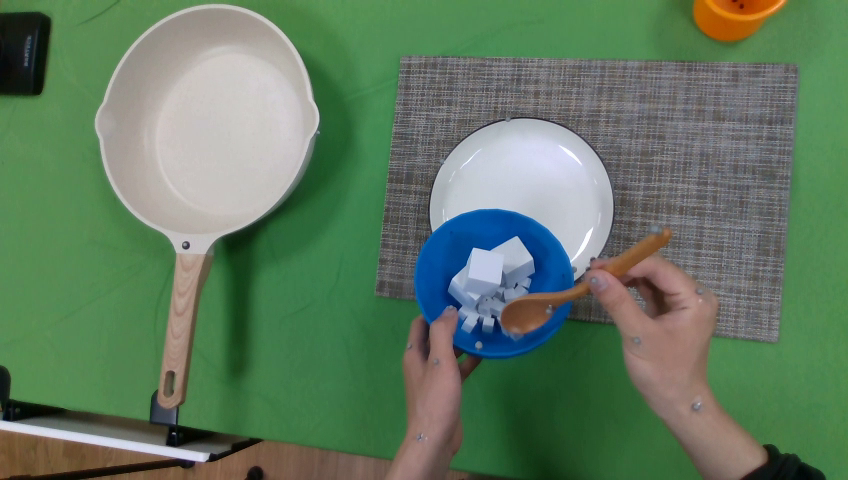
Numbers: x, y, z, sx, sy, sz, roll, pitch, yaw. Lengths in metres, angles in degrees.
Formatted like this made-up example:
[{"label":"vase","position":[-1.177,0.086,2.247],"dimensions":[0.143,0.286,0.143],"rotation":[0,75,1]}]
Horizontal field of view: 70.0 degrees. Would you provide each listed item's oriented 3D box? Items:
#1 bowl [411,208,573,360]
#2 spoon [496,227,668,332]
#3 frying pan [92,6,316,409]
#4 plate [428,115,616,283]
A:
[{"label":"bowl","position":[0.064,0.052,0.594],"dimensions":[0.151,0.077,0.150],"rotation":[0,64,1]},{"label":"spoon","position":[0.117,0.036,0.471],"dimensions":[0.042,0.194,0.021],"rotation":[26,59,-15]},{"label":"frying pan","position":[-0.278,-0.042,0.749],"dimensions":[0.306,0.103,0.485],"rotation":[3,78,14]},{"label":"plate","position":[0.110,-0.036,0.691],"dimensions":[0.207,0.039,0.207],"rotation":[-1,86,13]}]
